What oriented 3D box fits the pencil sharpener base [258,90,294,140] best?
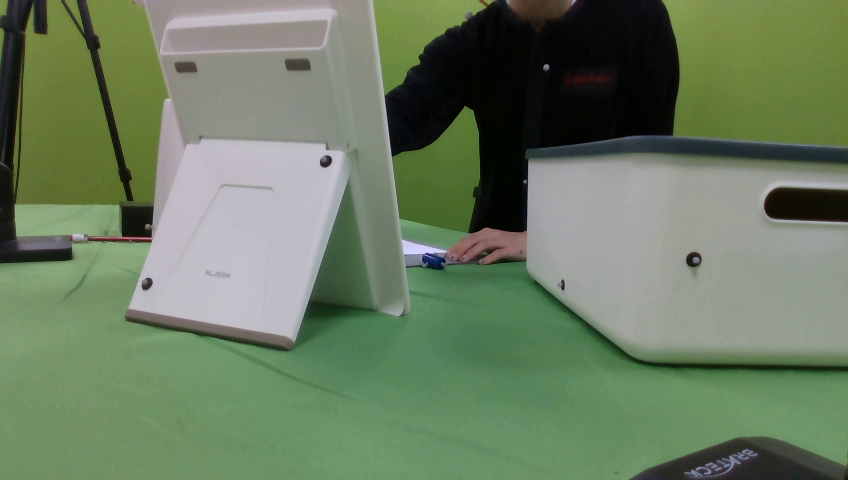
[{"bbox_3d":[-0.341,-0.285,1.388,0.062,0.107,0.076,-3,9,-36],"label":"pencil sharpener base"}]

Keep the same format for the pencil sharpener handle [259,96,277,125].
[{"bbox_3d":[-0.373,-0.304,1.425,0.036,0.067,0.030,13,-1,-37],"label":"pencil sharpener handle"}]

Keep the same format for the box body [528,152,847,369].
[{"bbox_3d":[0.258,-0.005,0.591,0.254,0.160,0.363,2,7,-4],"label":"box body"}]

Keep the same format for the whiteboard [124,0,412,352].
[{"bbox_3d":[-0.151,-0.049,0.471,0.216,0.305,0.144,6,27,24],"label":"whiteboard"}]

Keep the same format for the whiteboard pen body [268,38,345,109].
[{"bbox_3d":[-0.108,-0.156,0.562,0.017,0.017,0.141,6,40,21],"label":"whiteboard pen body"}]

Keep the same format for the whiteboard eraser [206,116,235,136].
[{"bbox_3d":[-0.449,-0.251,1.335,0.056,0.042,0.112,1,7,-22],"label":"whiteboard eraser"}]

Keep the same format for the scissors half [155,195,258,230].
[{"bbox_3d":[-0.378,-0.051,1.058,0.176,0.040,0.012,20,21,-31],"label":"scissors half"}]

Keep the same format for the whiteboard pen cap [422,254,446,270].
[{"bbox_3d":[0.013,0.028,0.807,0.018,0.018,0.033,-4,14,-42],"label":"whiteboard pen cap"}]

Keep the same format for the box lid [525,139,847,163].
[{"bbox_3d":[0.261,-0.078,0.580,0.264,0.015,0.371,2,7,-4],"label":"box lid"}]

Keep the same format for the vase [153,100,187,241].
[{"bbox_3d":[-0.278,-0.066,0.736,0.098,0.200,0.098,2,8,0],"label":"vase"}]

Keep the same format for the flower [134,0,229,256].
[{"bbox_3d":[-0.282,-0.147,0.713,0.038,0.362,0.044,-23,24,-31],"label":"flower"}]

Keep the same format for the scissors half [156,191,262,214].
[{"bbox_3d":[-0.371,-0.068,1.051,0.176,0.040,0.013,2,25,-24],"label":"scissors half"}]

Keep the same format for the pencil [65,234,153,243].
[{"bbox_3d":[-0.429,0.000,0.910,0.195,0.012,0.012,2,7,-19],"label":"pencil"}]
